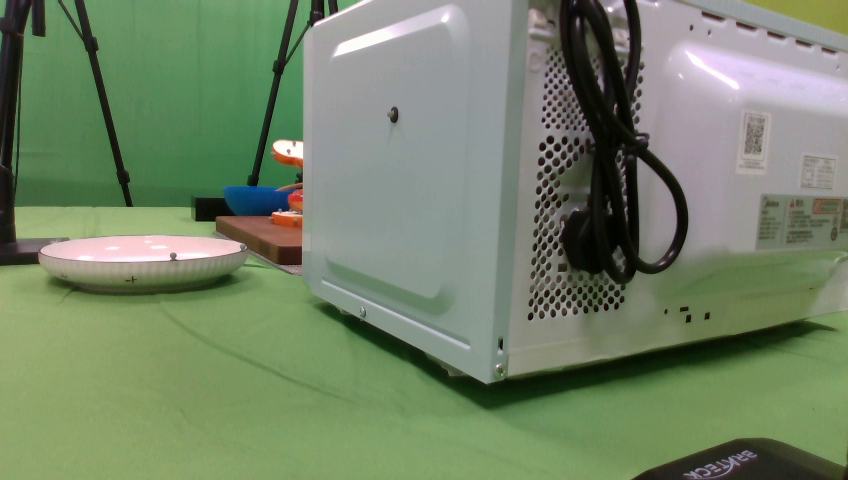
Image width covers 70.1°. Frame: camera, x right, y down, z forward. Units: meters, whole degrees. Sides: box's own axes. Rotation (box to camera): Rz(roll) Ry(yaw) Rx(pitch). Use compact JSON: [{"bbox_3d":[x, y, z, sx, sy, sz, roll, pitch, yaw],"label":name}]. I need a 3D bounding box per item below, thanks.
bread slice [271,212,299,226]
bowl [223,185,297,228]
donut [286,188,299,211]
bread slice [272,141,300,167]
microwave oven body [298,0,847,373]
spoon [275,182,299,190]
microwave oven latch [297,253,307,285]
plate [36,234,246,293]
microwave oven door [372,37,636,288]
[{"bbox_3d":[-0.197,-0.037,1.051,0.132,0.019,0.104,0,6,-31],"label":"bread slice"},{"bbox_3d":[-0.330,-0.068,1.230,0.151,0.077,0.151,3,8,0],"label":"bowl"},{"bbox_3d":[-0.190,-0.068,1.055,0.099,0.048,0.099,3,7,0],"label":"donut"},{"bbox_3d":[-0.185,-0.137,1.010,0.135,0.018,0.106,6,21,-24],"label":"bread slice"},{"bbox_3d":[0.151,-0.055,0.542,0.444,0.260,0.324,-2,7,-33],"label":"microwave oven body"},{"bbox_3d":[-0.300,-0.103,1.266,0.194,0.021,0.041,-24,9,-24],"label":"spoon"},{"bbox_3d":[-0.082,0.027,0.582,0.079,0.029,0.030,-1,7,-32],"label":"microwave oven latch"},{"bbox_3d":[-0.305,0.026,0.668,0.208,0.039,0.207,2,7,0],"label":"plate"},{"bbox_3d":[0.109,-0.080,0.686,0.358,0.243,0.039,-2,9,-33],"label":"microwave oven door"}]
